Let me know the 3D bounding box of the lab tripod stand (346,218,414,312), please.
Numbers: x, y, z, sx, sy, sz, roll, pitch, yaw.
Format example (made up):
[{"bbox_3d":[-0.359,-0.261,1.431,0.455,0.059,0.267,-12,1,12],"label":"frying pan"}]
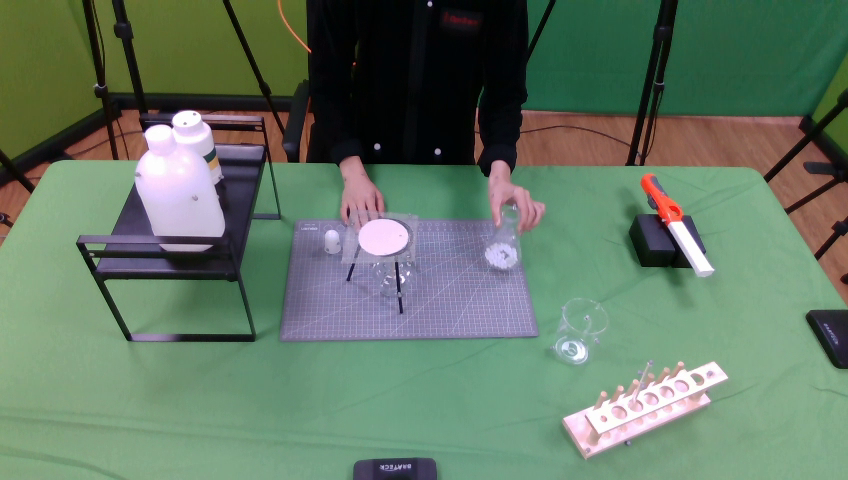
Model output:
[{"bbox_3d":[-0.070,0.037,1.075,0.148,0.132,0.147,1,47,-1],"label":"lab tripod stand"}]

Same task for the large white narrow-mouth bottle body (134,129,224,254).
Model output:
[{"bbox_3d":[-0.358,-0.075,0.875,0.102,0.195,0.101,1,48,-1],"label":"large white narrow-mouth bottle body"}]

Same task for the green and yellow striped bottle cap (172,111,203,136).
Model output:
[{"bbox_3d":[-0.374,-0.185,0.958,0.045,0.020,0.045,3,46,-3],"label":"green and yellow striped bottle cap"}]

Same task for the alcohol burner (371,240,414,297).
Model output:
[{"bbox_3d":[-0.057,0.046,1.082,0.078,0.120,0.077,1,46,0],"label":"alcohol burner"}]

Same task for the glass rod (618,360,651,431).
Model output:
[{"bbox_3d":[0.298,0.227,0.865,0.008,0.201,0.008,-1,47,2],"label":"glass rod"}]

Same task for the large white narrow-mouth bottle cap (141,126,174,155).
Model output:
[{"bbox_3d":[-0.356,-0.133,0.811,0.038,0.024,0.037,2,48,-2],"label":"large white narrow-mouth bottle cap"}]

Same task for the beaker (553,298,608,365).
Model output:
[{"bbox_3d":[0.260,0.154,1.015,0.073,0.101,0.084,37,54,27],"label":"beaker"}]

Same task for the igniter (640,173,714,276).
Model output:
[{"bbox_3d":[0.495,-0.039,1.204,0.057,0.025,0.274,-2,47,-12],"label":"igniter"}]

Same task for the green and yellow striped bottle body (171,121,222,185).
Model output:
[{"bbox_3d":[-0.375,-0.149,0.995,0.063,0.120,0.063,2,46,-2],"label":"green and yellow striped bottle body"}]

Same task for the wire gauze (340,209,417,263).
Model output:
[{"bbox_3d":[-0.074,-0.007,1.023,0.121,0.011,0.124,3,46,0],"label":"wire gauze"}]

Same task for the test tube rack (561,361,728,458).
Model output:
[{"bbox_3d":[0.341,0.248,0.940,0.243,0.085,0.066,-15,49,-18],"label":"test tube rack"}]

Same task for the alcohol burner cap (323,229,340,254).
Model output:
[{"bbox_3d":[-0.179,0.001,1.165,0.034,0.048,0.033,2,45,-2],"label":"alcohol burner cap"}]

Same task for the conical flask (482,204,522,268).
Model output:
[{"bbox_3d":[0.151,-0.010,1.114,0.075,0.122,0.075,2,48,-2],"label":"conical flask"}]
